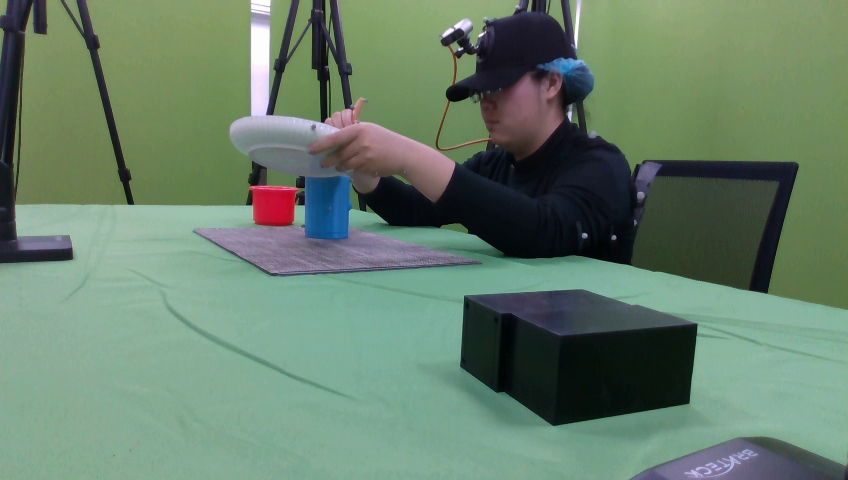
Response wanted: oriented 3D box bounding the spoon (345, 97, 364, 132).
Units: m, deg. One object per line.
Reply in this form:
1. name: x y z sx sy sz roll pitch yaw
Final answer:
1. spoon: -0.139 -0.189 1.056 0.041 0.022 0.193 2 46 19

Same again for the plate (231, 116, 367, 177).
1. plate: -0.193 -0.136 0.938 0.208 0.039 0.207 5 -10 1

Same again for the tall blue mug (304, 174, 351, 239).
1. tall blue mug: -0.178 -0.062 1.062 0.078 0.108 0.106 -5 10 -38
